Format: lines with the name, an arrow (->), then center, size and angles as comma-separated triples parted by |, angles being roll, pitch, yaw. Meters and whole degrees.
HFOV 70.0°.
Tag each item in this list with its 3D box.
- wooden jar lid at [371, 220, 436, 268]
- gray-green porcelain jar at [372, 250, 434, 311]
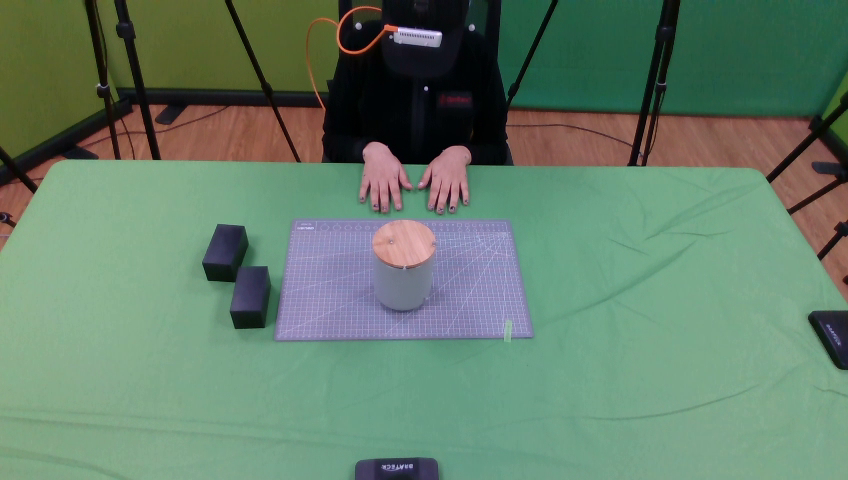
wooden jar lid -> -0.034, 0.009, 1.020 | 0.108, 0.021, 0.107 | 2, 47, -2
gray-green porcelain jar -> -0.037, 0.054, 1.067 | 0.106, 0.127, 0.105 | 2, 46, -2
